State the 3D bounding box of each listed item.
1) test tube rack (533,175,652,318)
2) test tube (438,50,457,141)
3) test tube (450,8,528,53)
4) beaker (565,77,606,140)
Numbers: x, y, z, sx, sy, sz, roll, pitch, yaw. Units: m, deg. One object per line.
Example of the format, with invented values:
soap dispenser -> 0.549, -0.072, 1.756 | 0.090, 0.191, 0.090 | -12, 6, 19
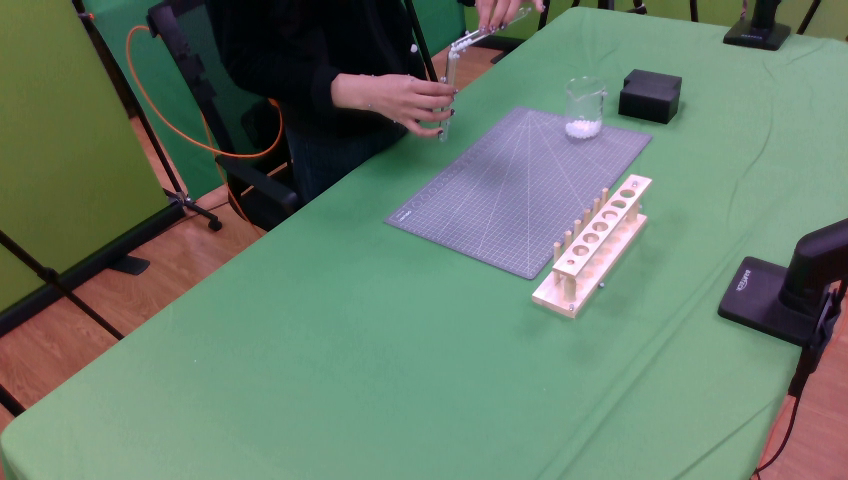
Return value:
test tube rack -> 0.250, -0.001, 0.889 | 0.066, 0.085, 0.243 | 22, 49, 33
test tube -> 0.039, -0.238, 1.007 | 0.017, 0.150, 0.017 | 5, 25, -2
test tube -> 0.107, -0.344, 0.990 | 0.150, 0.017, 0.017 | -30, 44, -12
beaker -> 0.304, -0.247, 1.153 | 0.073, 0.101, 0.084 | 15, 47, 27
